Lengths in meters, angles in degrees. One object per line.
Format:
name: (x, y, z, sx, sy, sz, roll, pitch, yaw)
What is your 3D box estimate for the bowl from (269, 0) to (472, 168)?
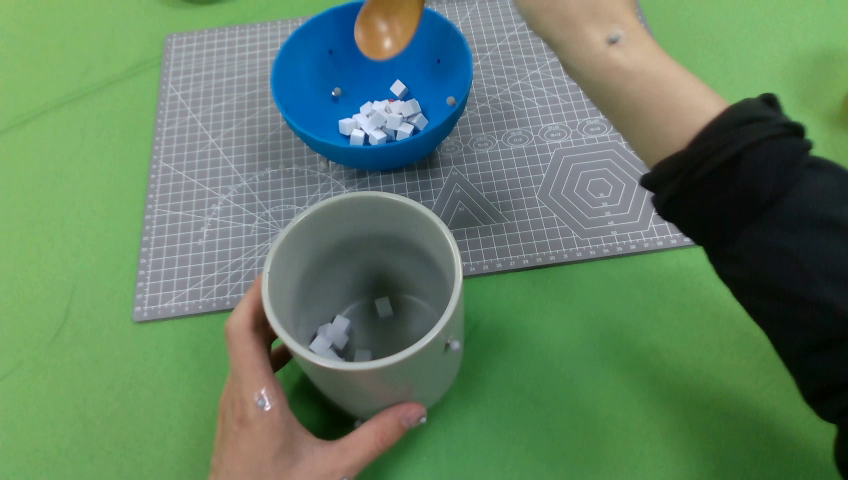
bowl: (-0.037, -0.110, 0.479, 0.151, 0.077, 0.150, -1, 61, 3)

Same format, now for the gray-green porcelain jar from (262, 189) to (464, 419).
gray-green porcelain jar: (-0.028, 0.046, 0.367, 0.106, 0.127, 0.105, -2, 60, 3)

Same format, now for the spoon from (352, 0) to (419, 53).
spoon: (0.013, -0.183, 0.354, 0.021, 0.194, 0.041, -31, 84, -45)
